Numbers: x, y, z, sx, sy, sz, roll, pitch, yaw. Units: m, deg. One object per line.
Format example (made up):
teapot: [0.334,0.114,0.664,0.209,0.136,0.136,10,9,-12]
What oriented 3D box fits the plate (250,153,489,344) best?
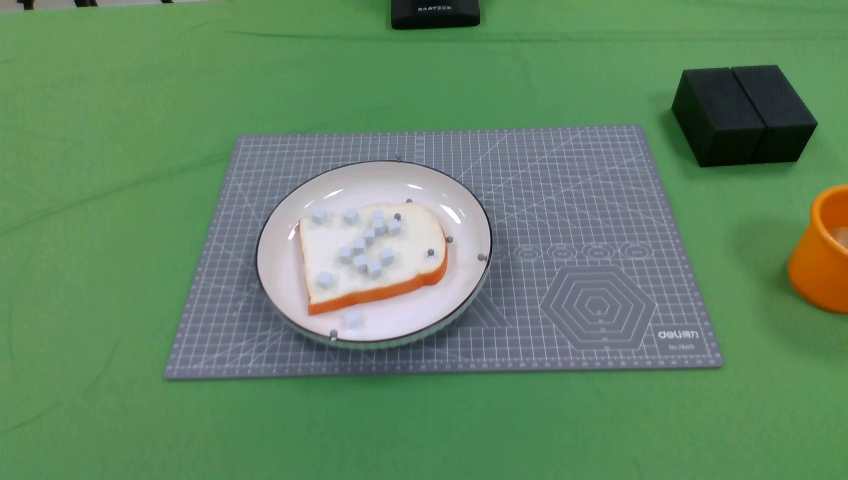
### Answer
plate: [-0.047,0.006,0.541,0.209,0.038,0.207,-1,51,1]

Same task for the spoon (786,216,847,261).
spoon: [0.384,-0.019,0.470,0.193,0.022,0.041,-19,38,42]

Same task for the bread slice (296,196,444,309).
bread slice: [-0.049,0.003,0.547,0.132,0.019,0.103,-14,52,-7]
